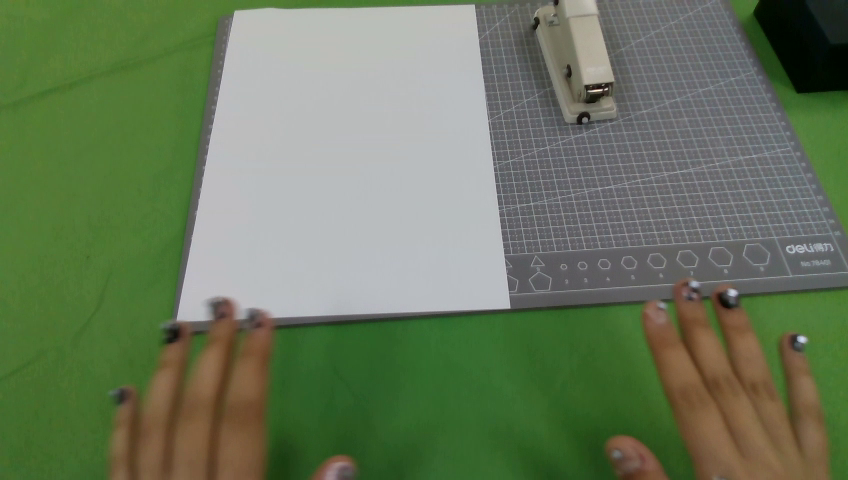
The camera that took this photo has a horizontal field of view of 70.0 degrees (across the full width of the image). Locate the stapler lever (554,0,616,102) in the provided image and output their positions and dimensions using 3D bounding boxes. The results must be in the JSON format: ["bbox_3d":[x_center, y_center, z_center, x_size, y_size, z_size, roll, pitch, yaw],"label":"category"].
[{"bbox_3d":[0.122,-0.161,0.467,0.027,0.040,0.117,-8,61,-2],"label":"stapler lever"}]

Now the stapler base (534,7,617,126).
[{"bbox_3d":[0.122,-0.149,0.490,0.041,0.024,0.129,-8,61,-2],"label":"stapler base"}]
